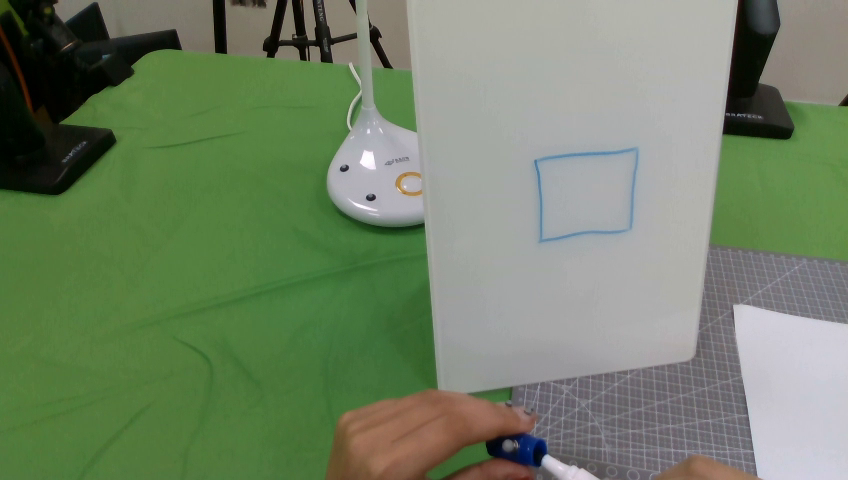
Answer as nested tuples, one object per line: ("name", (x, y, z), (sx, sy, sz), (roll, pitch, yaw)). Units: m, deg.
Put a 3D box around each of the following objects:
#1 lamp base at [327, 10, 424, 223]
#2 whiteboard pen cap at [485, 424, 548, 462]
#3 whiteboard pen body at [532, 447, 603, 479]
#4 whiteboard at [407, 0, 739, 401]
("lamp base", (-0.039, -0.136, 0.639), (0.161, 0.182, 0.177), (-27, 46, -25))
("whiteboard pen cap", (0.052, 0.113, 0.338), (0.033, 0.018, 0.018), (-6, 32, 42))
("whiteboard pen body", (0.111, 0.142, 0.294), (0.139, 0.017, 0.017), (27, 50, 33))
("whiteboard", (0.100, -0.050, 0.493), (0.217, 0.307, 0.142), (-7, 24, -5))
